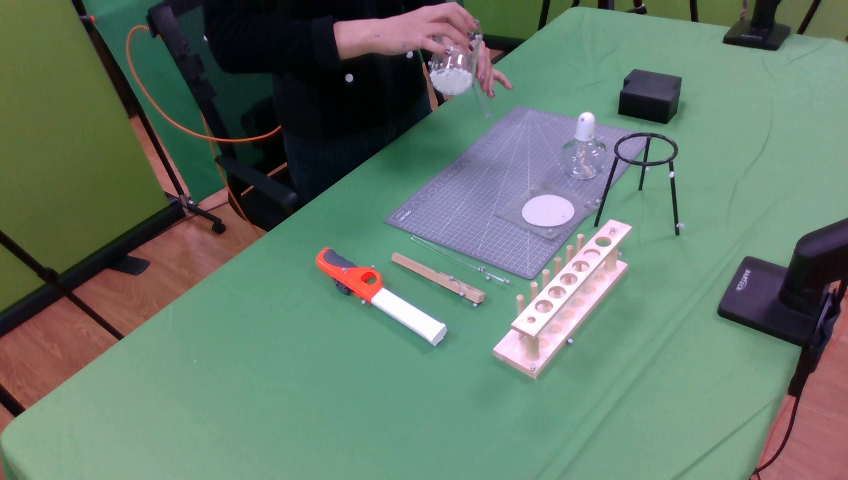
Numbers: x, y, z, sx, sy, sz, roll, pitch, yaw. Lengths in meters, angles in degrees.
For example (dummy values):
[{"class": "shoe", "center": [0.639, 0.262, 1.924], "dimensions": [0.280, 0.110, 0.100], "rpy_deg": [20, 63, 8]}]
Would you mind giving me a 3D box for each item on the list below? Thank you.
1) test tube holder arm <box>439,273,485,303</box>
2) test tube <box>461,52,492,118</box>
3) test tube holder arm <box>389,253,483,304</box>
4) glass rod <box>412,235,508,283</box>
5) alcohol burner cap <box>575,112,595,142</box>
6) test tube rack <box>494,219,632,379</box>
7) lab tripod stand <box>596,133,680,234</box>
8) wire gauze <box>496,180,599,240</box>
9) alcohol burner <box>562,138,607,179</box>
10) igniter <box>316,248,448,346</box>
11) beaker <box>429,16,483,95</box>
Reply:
[{"class": "test tube holder arm", "center": [0.052, 0.071, 0.896], "dimensions": [0.087, 0.015, 0.010], "rpy_deg": [24, 14, 34]}, {"class": "test tube", "center": [0.094, -0.267, 1.055], "dimensions": [0.017, 0.151, 0.017], "rpy_deg": [-11, 55, 16]}, {"class": "test tube holder arm", "center": [0.015, 0.056, 0.915], "dimensions": [0.177, 0.015, 0.013], "rpy_deg": [23, 14, 32]}, {"class": "glass rod", "center": [0.051, 0.028, 0.951], "dimensions": [0.198, 0.008, 0.008], "rpy_deg": [25, 51, 37]}, {"class": "alcohol burner cap", "center": [0.276, -0.194, 1.028], "dimensions": [0.034, 0.048, 0.033], "rpy_deg": [-2, 44, 3]}, {"class": "test tube rack", "center": [0.191, 0.068, 0.818], "dimensions": [0.066, 0.085, 0.243], "rpy_deg": [25, 51, 35]}, {"class": "lab tripod stand", "center": [0.338, -0.091, 0.940], "dimensions": [0.148, 0.132, 0.147], "rpy_deg": [-7, 39, 6]}, {"class": "wire gauze", "center": [0.206, -0.050, 1.012], "dimensions": [0.125, 0.011, 0.120], "rpy_deg": [-34, 45, -26]}, {"class": "alcohol burner", "center": [0.280, -0.167, 1.052], "dimensions": [0.078, 0.119, 0.077], "rpy_deg": [-5, 38, 4]}, {"class": "igniter", "center": [-0.074, 0.078, 0.902], "dimensions": [0.274, 0.025, 0.057], "rpy_deg": [29, 63, 36]}, {"class": "beaker", "center": [0.049, -0.283, 0.944], "dimensions": [0.073, 0.084, 0.100], "rpy_deg": [3, 63, 19]}]
